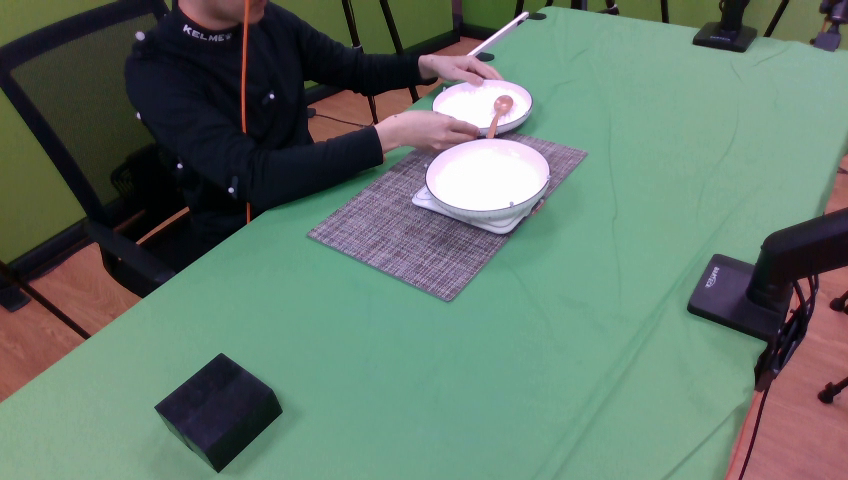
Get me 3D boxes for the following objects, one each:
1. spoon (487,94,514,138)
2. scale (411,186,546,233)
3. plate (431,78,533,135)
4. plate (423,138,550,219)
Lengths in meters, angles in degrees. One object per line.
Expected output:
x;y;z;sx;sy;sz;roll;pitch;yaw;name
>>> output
0.144;-0.242;1.186;0.041;0.022;0.193;6;35;16;spoon
0.092;-0.083;1.039;0.199;0.032;0.149;22;48;30;scale
0.120;-0.272;1.249;0.209;0.038;0.208;-4;41;4;plate
0.104;-0.099;1.005;0.207;0.039;0.206;-4;41;4;plate
